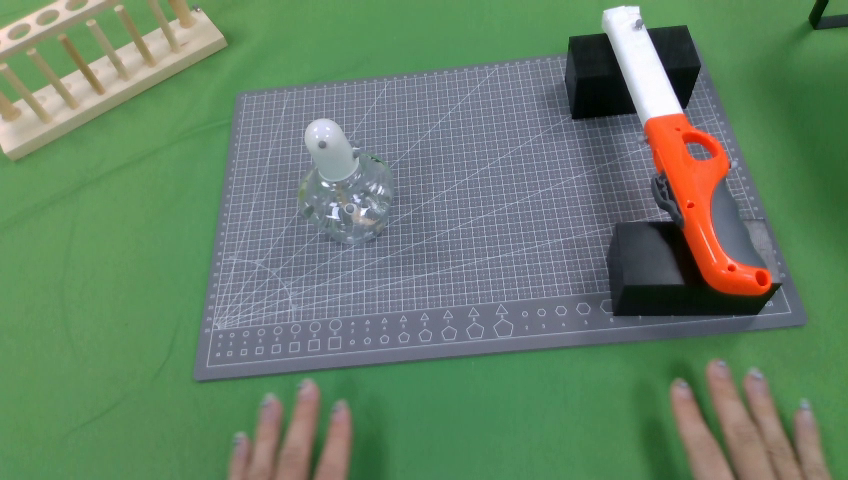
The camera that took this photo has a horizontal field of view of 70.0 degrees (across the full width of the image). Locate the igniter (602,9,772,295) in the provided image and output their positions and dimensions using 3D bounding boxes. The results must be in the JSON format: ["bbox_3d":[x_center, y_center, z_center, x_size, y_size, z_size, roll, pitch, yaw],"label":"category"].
[{"bbox_3d":[0.184,-0.079,0.450,0.057,0.025,0.273,-9,57,3],"label":"igniter"}]

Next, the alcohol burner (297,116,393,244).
[{"bbox_3d":[-0.064,-0.049,0.469,0.078,0.120,0.077,-4,56,6],"label":"alcohol burner"}]

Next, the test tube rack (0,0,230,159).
[{"bbox_3d":[-0.330,-0.187,0.606,0.242,0.086,0.066,-33,61,-13],"label":"test tube rack"}]

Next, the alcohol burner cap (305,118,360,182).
[{"bbox_3d":[-0.068,-0.068,0.440,0.034,0.048,0.033,-5,61,9],"label":"alcohol burner cap"}]
